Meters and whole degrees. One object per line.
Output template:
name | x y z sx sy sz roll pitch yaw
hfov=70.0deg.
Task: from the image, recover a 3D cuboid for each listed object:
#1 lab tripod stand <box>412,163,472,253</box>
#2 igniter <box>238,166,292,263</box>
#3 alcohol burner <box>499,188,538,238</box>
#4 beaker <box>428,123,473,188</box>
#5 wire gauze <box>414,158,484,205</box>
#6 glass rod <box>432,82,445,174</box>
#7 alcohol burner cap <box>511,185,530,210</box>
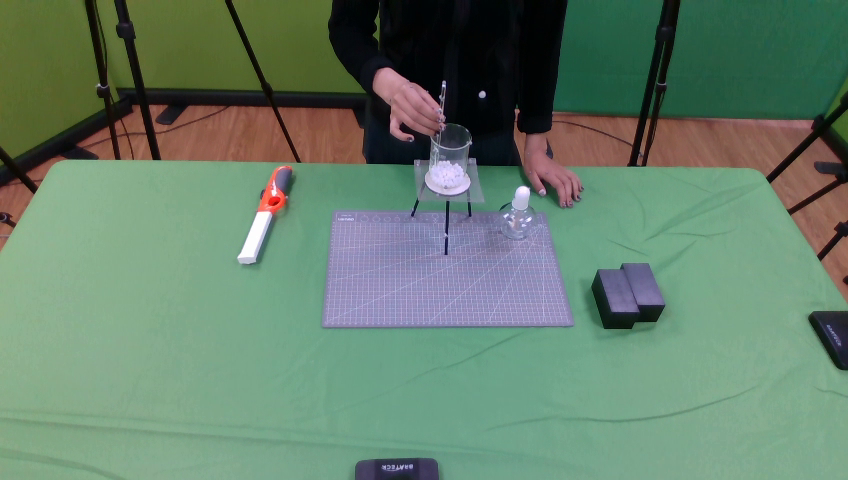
lab tripod stand | 0.043 -0.070 1.187 0.148 0.132 0.147 3 47 -3
igniter | -0.318 -0.060 1.229 0.057 0.025 0.275 -2 45 10
alcohol burner | 0.189 -0.060 1.202 0.078 0.120 0.077 1 48 -1
beaker | 0.044 -0.154 1.110 0.074 0.101 0.083 -25 54 -25
wire gauze | 0.045 -0.113 1.137 0.125 0.011 0.120 2 48 -6
glass rod | 0.024 -0.190 1.058 0.008 0.200 0.008 3 49 -3
alcohol burner cap | 0.190 -0.086 1.176 0.034 0.048 0.033 3 50 -3
